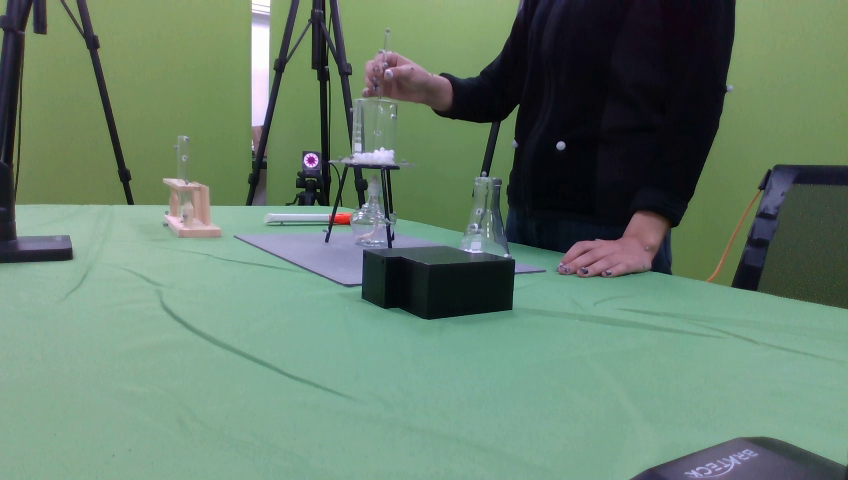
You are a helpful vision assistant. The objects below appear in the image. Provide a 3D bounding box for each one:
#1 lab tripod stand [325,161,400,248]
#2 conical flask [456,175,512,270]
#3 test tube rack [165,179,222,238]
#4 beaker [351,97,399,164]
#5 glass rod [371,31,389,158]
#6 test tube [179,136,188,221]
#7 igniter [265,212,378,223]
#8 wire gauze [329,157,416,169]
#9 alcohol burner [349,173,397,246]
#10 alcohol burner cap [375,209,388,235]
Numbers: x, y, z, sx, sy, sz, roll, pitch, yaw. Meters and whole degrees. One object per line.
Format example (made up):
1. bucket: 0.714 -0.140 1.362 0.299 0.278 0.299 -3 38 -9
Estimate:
1. lab tripod stand: -0.083 -0.059 0.977 0.148 0.131 0.148 4 8 0
2. conical flask: 0.082 -0.025 0.801 0.075 0.122 0.075 2 7 0
3. test tube rack: -0.423 -0.062 1.098 0.067 0.085 0.241 -2 9 -28
4. beaker: -0.078 -0.171 0.963 0.074 0.100 0.084 6 7 18
5. glass rod: -0.071 -0.232 0.972 0.008 0.199 0.008 8 11 -1
6. test tube: -0.425 -0.108 1.070 0.017 0.150 0.017 4 9 0
7. igniter: -0.195 -0.048 1.285 0.278 0.025 0.057 -2 -2 -30
8. wire gauze: -0.079 -0.125 0.972 0.121 0.011 0.125 6 6 5
9. alcohol burner: -0.081 -0.050 0.982 0.078 0.119 0.078 4 8 0
10. alcohol burner cap: -0.076 -0.035 1.145 0.034 0.048 0.034 2 7 0
